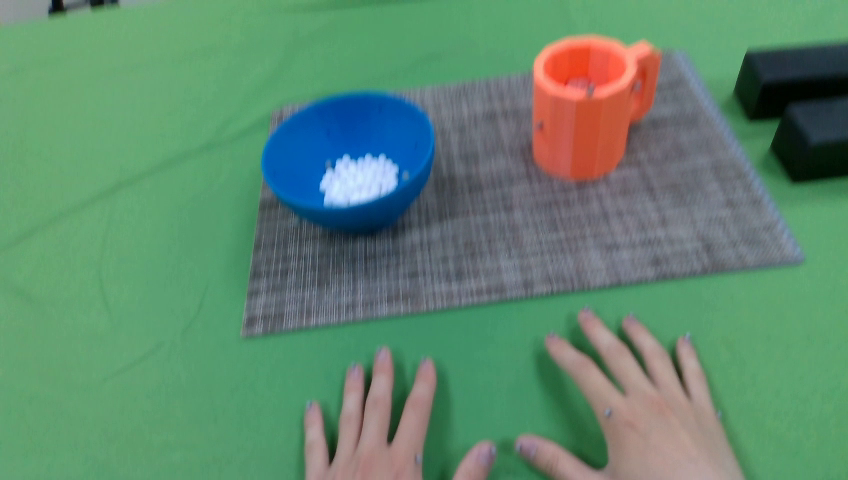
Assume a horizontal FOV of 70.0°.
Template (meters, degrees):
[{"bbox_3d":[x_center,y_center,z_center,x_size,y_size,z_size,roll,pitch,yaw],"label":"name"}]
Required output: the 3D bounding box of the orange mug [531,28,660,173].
[{"bbox_3d":[0.155,-0.133,0.549,0.126,0.102,0.082,-28,53,-8],"label":"orange mug"}]

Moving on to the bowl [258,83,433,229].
[{"bbox_3d":[-0.062,-0.063,0.542,0.151,0.077,0.150,-5,51,6],"label":"bowl"}]
